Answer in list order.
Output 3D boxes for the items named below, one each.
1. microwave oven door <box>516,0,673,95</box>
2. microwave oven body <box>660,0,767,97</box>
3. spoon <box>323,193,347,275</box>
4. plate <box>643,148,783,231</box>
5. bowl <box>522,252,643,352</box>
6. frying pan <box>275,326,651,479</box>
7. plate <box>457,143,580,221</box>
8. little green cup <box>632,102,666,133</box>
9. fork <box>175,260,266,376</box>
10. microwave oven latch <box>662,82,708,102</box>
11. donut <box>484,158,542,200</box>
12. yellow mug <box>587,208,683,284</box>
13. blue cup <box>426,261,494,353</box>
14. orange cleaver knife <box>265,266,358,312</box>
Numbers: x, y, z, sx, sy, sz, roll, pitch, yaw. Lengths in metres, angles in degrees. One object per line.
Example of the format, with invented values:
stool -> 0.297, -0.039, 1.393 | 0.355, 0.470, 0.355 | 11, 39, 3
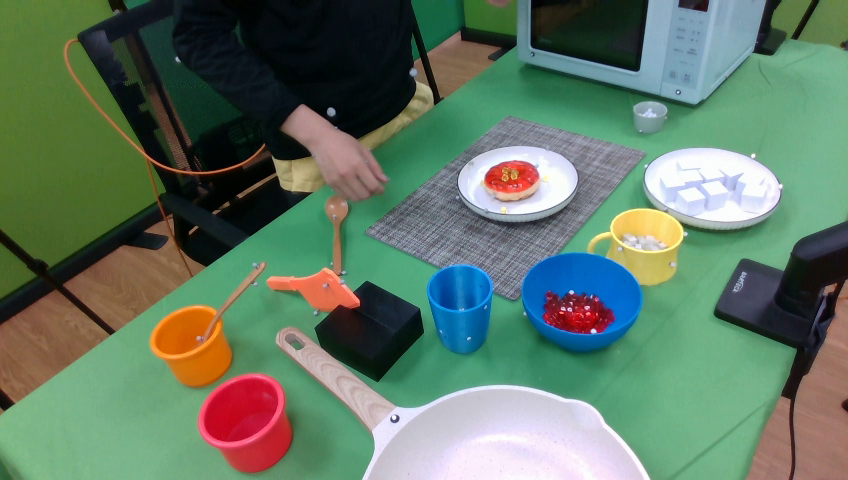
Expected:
microwave oven door -> 0.344, -0.458, 1.256 | 0.353, 0.245, 0.039 | 26, 51, 33
microwave oven body -> 0.473, -0.516, 1.313 | 0.438, 0.261, 0.327 | 26, 51, 34
spoon -> -0.148, -0.014, 1.007 | 0.042, 0.022, 0.192 | 1, 40, -9
plate -> 0.464, -0.080, 0.986 | 0.207, 0.039, 0.206 | -4, 41, 4
bowl -> 0.204, 0.093, 0.792 | 0.151, 0.077, 0.150 | -4, 40, 4
frying pan -> 0.004, 0.229, 0.641 | 0.484, 0.103, 0.308 | 34, 54, 28
plate -> 0.162, -0.097, 1.042 | 0.209, 0.038, 0.208 | -4, 40, 4
little green cup -> 0.434, -0.237, 1.171 | 0.061, 0.039, 0.061 | -5, 40, 5
fork -> -0.268, 0.103, 0.792 | 0.207, 0.019, 0.028 | -51, 41, 16
microwave oven latch -> 0.518, -0.298, 1.202 | 0.078, 0.029, 0.030 | 28, 53, 35
donut -> 0.153, -0.107, 1.039 | 0.099, 0.048, 0.098 | -6, 37, 5
yellow mug -> 0.305, 0.009, 0.884 | 0.131, 0.064, 0.099 | -4, 41, 5
blue cup -> 0.049, 0.095, 0.792 | 0.092, 0.100, 0.092 | -3, 43, 3
orange cleaver knife -> -0.164, 0.073, 0.864 | 0.210, 0.077, 0.012 | -6, 31, 50
